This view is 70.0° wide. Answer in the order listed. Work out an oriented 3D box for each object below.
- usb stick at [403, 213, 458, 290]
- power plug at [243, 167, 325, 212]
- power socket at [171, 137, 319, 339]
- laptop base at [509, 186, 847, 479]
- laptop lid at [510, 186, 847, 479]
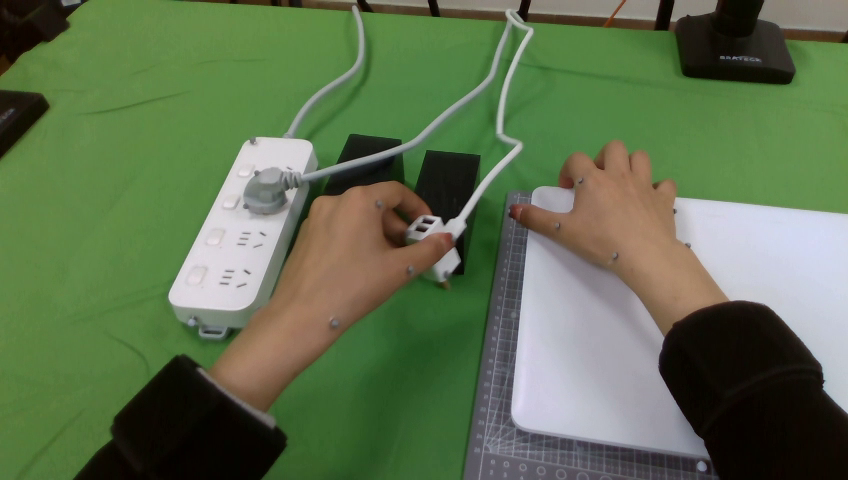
[{"bbox_3d":[0.007,0.011,0.450,0.021,0.060,0.027,12,46,37],"label":"usb stick"},{"bbox_3d":[-0.123,-0.036,0.528,0.072,0.053,0.035,13,51,13],"label":"power plug"},{"bbox_3d":[-0.152,-0.015,0.543,0.072,0.033,0.224,5,49,5],"label":"power socket"},{"bbox_3d":[0.251,0.063,0.466,0.354,0.023,0.233,6,53,8],"label":"laptop base"},{"bbox_3d":[0.250,0.057,0.456,0.356,0.013,0.239,7,52,9],"label":"laptop lid"}]
